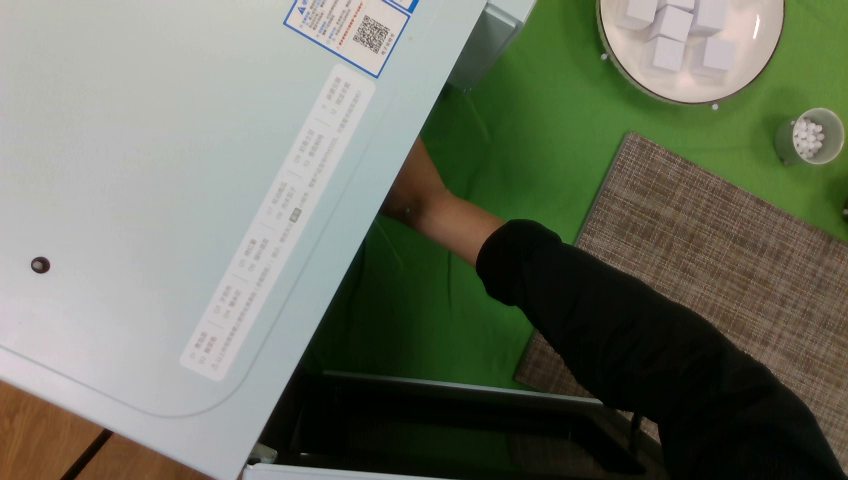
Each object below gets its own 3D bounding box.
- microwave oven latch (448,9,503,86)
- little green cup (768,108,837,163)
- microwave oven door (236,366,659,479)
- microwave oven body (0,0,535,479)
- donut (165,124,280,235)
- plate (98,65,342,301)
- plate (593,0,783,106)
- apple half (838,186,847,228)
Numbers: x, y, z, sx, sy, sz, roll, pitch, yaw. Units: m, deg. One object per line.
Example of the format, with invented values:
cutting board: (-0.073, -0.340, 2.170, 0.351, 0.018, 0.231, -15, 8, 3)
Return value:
microwave oven latch: (0.048, -0.197, 0.609, 0.030, 0.029, 0.079, 31, 90, -8)
little green cup: (0.419, -0.114, 0.676, 0.061, 0.038, 0.061, 0, 92, -6)
microwave oven door: (0.038, 0.175, 0.530, 0.357, 0.243, 0.039, 8, 91, -7)
microwave oven body: (-0.155, -0.105, 0.495, 0.327, 0.259, 0.441, 28, 91, -8)
donut: (-0.177, -0.052, 0.536, 0.099, 0.048, 0.099, 0, 95, -5)
plate: (-0.180, -0.050, 0.549, 0.209, 0.038, 0.209, 0, 94, -6)
plate: (0.279, -0.247, 0.651, 0.208, 0.039, 0.207, 0, 93, -7)
apple half: (0.497, -0.038, 0.673, 0.053, 0.074, 0.081, -1, 97, -2)
